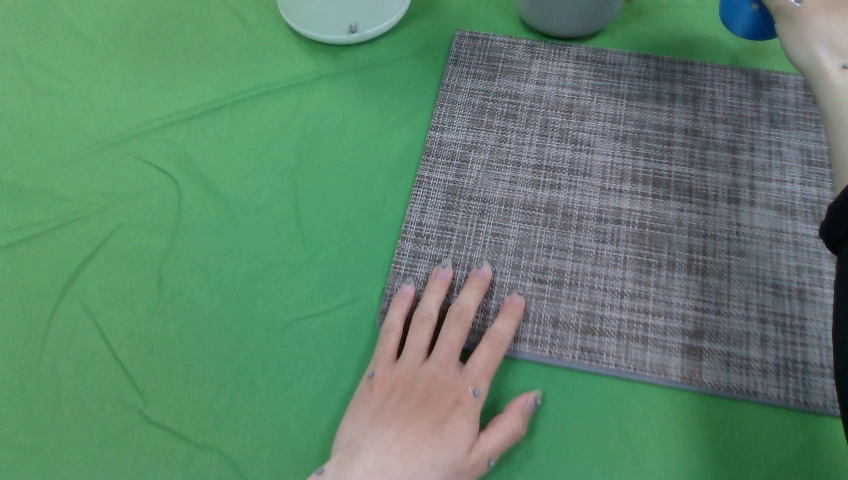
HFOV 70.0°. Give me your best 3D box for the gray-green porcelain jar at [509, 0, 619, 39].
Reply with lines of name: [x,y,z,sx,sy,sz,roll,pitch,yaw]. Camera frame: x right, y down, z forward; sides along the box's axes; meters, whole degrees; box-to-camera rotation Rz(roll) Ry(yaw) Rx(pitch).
gray-green porcelain jar: [0.129,-0.253,0.534,0.106,0.127,0.105,-1,62,2]

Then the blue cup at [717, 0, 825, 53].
blue cup: [0.277,-0.204,0.472,0.092,0.101,0.092,-2,63,4]

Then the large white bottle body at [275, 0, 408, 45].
large white bottle body: [-0.082,-0.280,0.521,0.130,0.186,0.129,-1,62,2]
